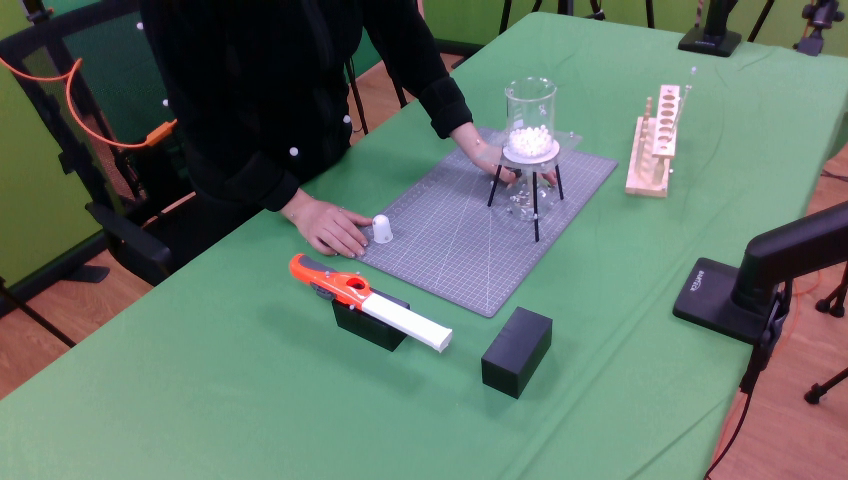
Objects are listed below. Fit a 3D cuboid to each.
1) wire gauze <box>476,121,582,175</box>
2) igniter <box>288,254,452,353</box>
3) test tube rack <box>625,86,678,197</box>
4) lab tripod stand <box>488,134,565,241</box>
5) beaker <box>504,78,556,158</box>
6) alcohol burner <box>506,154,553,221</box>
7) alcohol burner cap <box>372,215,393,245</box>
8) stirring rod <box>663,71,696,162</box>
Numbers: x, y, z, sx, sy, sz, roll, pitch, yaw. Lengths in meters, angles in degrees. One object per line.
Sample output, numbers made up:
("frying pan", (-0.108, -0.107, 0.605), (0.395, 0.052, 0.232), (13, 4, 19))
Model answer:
("wire gauze", (0.162, -0.141, 0.929), (0.120, 0.011, 0.125), (19, 49, 32))
("igniter", (-0.083, 0.080, 0.818), (0.274, 0.025, 0.057), (23, 46, 27))
("test tube rack", (0.412, -0.184, 1.088), (0.066, 0.085, 0.242), (9, 43, 18))
("lab tripod stand", (0.168, -0.092, 0.972), (0.148, 0.132, 0.147), (-5, 41, 5))
("beaker", (0.160, -0.181, 0.900), (0.084, 0.101, 0.073), (-33, 46, -27))
("alcohol burner", (0.172, -0.090, 0.984), (0.078, 0.119, 0.077), (-5, 42, 5))
("alcohol burner cap", (-0.070, -0.019, 0.990), (0.034, 0.048, 0.033), (-4, 42, 4))
("stirring rod", (0.411, -0.195, 0.981), (0.014, 0.177, 0.006), (13, 50, 15))
